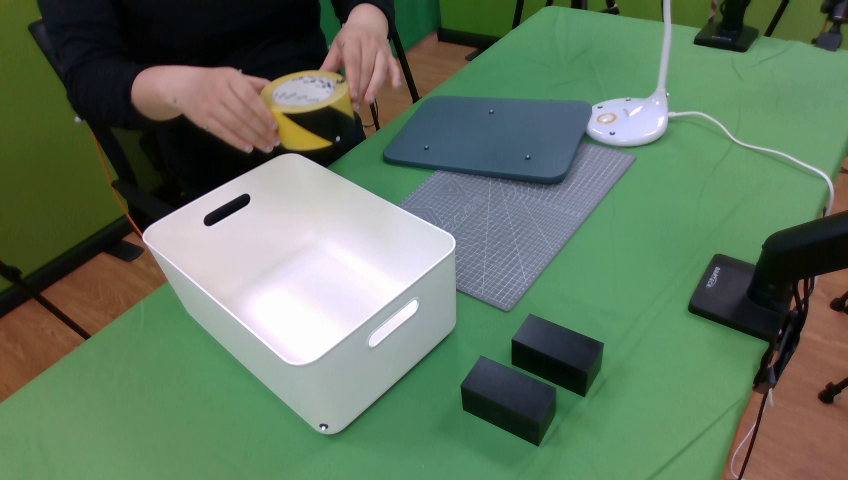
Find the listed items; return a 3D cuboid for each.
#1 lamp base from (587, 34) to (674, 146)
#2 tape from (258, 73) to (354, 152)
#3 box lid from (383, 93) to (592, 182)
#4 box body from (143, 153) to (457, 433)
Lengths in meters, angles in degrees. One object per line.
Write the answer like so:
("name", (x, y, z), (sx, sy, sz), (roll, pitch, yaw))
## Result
("lamp base", (0.392, -0.291, 1.129), (0.180, 0.181, 0.159), (-11, 41, -8))
("tape", (-0.146, -0.161, 0.762), (0.117, 0.053, 0.116), (-4, 41, 4))
("box lid", (0.128, -0.211, 1.192), (0.369, 0.015, 0.263), (9, 45, 22))
("box body", (-0.158, 0.054, 0.819), (0.361, 0.161, 0.255), (29, 52, 34))
